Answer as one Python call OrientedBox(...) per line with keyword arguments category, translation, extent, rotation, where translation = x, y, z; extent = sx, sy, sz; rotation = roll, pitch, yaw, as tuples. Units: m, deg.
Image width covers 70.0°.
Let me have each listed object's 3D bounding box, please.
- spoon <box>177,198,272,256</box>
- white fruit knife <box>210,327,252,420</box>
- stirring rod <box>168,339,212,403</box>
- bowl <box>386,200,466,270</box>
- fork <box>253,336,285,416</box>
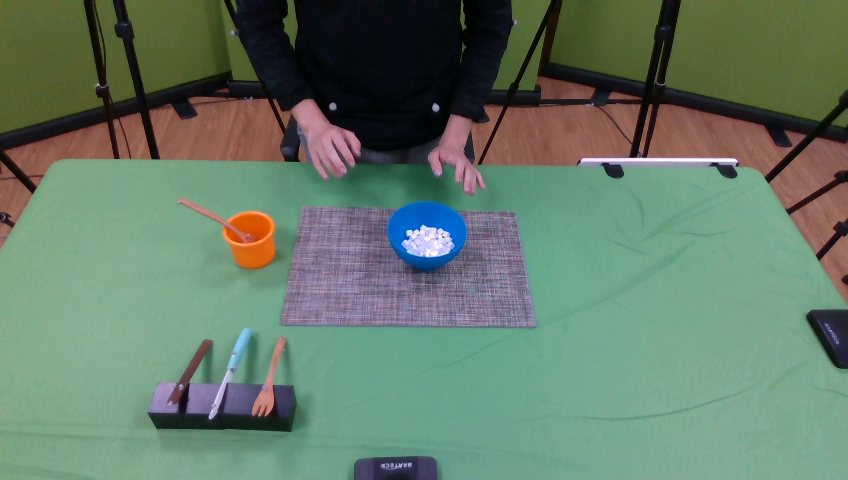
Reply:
OrientedBox(category="spoon", translation=(-0.361, -0.025, 1.107), extent=(0.195, 0.021, 0.041), rotation=(39, 34, -32))
OrientedBox(category="white fruit knife", translation=(-0.298, 0.200, 0.937), extent=(0.016, 0.027, 0.206), rotation=(-1, 30, 0))
OrientedBox(category="stirring rod", translation=(-0.360, 0.199, 0.939), extent=(0.014, 0.006, 0.175), rotation=(9, 20, -6))
OrientedBox(category="bowl", translation=(0.002, 0.004, 1.150), extent=(0.151, 0.077, 0.150), rotation=(2, 46, -2))
OrientedBox(category="fork", translation=(-0.235, 0.206, 0.938), extent=(0.028, 0.019, 0.206), rotation=(-2, 26, -3))
